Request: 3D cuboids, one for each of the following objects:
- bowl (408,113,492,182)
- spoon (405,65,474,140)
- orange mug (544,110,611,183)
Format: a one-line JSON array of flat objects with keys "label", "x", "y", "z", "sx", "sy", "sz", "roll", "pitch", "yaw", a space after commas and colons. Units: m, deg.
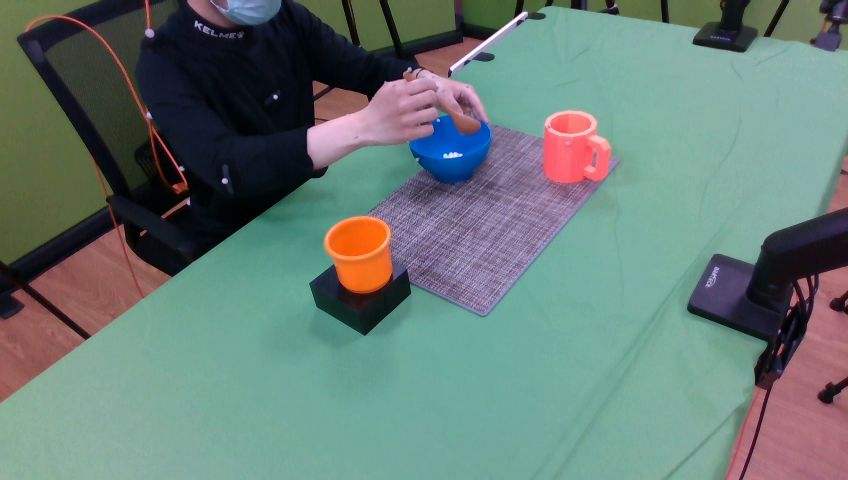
[{"label": "bowl", "x": 0.049, "y": -0.158, "z": 1.097, "sx": 0.151, "sy": 0.077, "sz": 0.150, "roll": -4, "pitch": 41, "yaw": 4}, {"label": "spoon", "x": 0.028, "y": -0.223, "z": 0.987, "sx": 0.021, "sy": 0.195, "sz": 0.041, "roll": -32, "pitch": 47, "yaw": 14}, {"label": "orange mug", "x": 0.266, "y": -0.157, "z": 1.049, "sx": 0.084, "sy": 0.101, "sz": 0.125, "roll": -33, "pitch": 42, "yaw": -26}]
